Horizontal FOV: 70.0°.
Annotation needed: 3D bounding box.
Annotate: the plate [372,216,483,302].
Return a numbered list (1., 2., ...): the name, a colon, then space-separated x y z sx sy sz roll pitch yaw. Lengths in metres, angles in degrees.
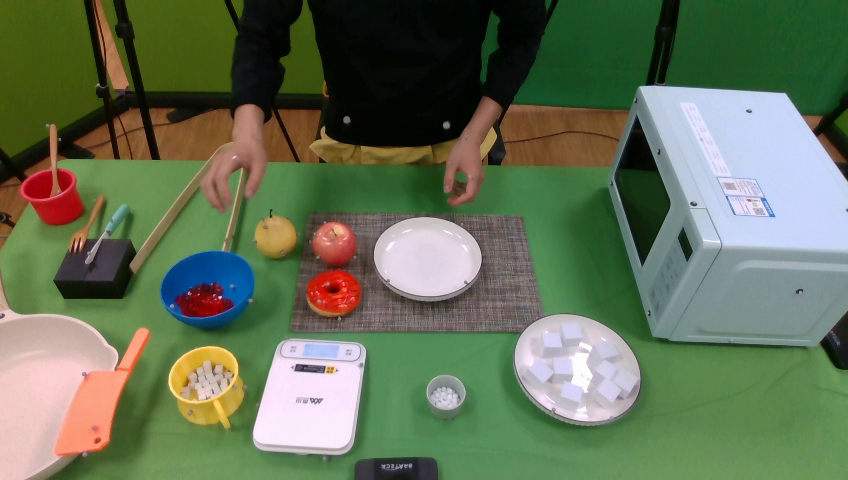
1. plate: 0.006 0.038 1.145 0.209 0.038 0.208 2 46 -2

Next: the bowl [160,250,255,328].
1. bowl: -0.362 0.098 1.040 0.151 0.077 0.150 2 45 -2

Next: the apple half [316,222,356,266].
1. apple half: -0.157 0.015 1.132 0.053 0.075 0.080 28 48 18

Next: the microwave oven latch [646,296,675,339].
1. microwave oven latch: 0.412 0.134 1.061 0.030 0.029 0.078 4 45 1

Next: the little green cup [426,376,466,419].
1. little green cup: 0.033 0.248 0.950 0.061 0.039 0.061 2 46 -2

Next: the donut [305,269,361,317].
1. donut: -0.160 0.094 1.075 0.099 0.048 0.098 3 46 -3

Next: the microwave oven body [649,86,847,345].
1. microwave oven body: 0.567 -0.053 1.118 0.326 0.261 0.439 2 45 -1

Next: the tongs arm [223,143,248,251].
1. tongs arm: -0.397 -0.073 1.232 0.051 0.026 0.382 -2 45 0

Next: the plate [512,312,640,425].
1. plate: 0.246 0.213 0.999 0.208 0.039 0.206 2 46 -2

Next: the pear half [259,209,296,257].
1. pear half: -0.274 -0.024 1.142 0.076 0.110 0.056 27 50 16

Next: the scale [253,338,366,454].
1. scale: -0.175 0.236 0.951 0.149 0.032 0.199 4 45 -1

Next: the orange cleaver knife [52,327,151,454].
1. orange cleaver knife: -0.462 0.212 0.879 0.077 0.012 0.210 6 45 -1

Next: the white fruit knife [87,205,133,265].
1. white fruit knife: -0.584 -0.013 1.129 0.016 0.027 0.206 0 31 -5

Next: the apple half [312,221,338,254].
1. apple half: -0.189 -0.002 1.143 0.032 0.081 0.081 27 50 19

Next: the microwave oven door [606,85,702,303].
1. microwave oven door: 0.422 -0.094 1.140 0.039 0.245 0.353 2 46 -1

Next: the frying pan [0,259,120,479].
1. frying pan: -0.647 0.164 0.936 0.307 0.103 0.485 -19 58 -22

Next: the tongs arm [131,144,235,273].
1. tongs arm: -0.483 -0.078 1.235 0.028 0.028 0.385 6 45 13

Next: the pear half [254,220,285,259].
1. pear half: -0.294 0.003 1.127 0.070 0.088 0.031 25 49 16

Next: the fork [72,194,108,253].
1. fork: -0.634 -0.036 1.158 0.028 0.019 0.206 -7 31 -9

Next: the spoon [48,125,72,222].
1. spoon: -0.718 -0.131 1.189 0.041 0.021 0.193 -3 90 -6

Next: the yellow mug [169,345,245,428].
1. yellow mug: -0.322 0.230 0.922 0.100 0.064 0.130 -24 53 -25
